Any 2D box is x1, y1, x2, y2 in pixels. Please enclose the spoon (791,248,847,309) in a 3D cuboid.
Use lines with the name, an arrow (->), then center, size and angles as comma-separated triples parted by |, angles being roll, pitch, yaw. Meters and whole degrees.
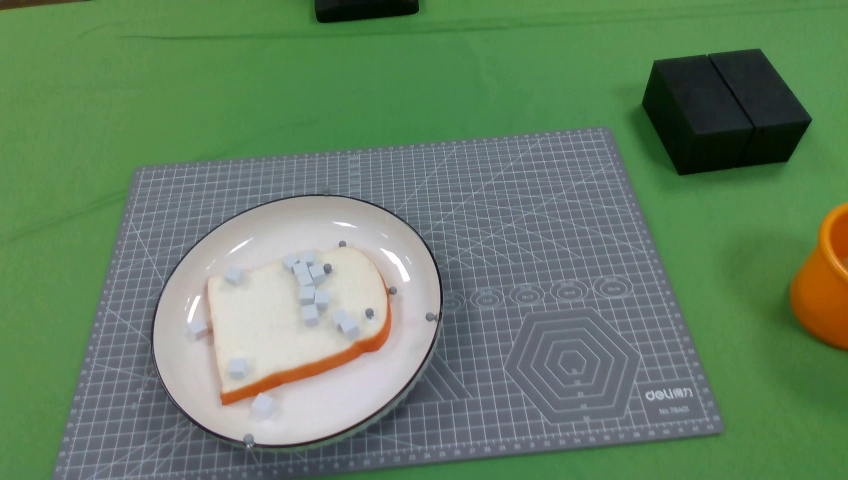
spoon -> 0.343, -0.003, 0.399 | 0.193, 0.022, 0.041 | -30, 43, 32

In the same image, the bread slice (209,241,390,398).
bread slice -> -0.093, 0.048, 0.453 | 0.132, 0.019, 0.103 | -18, 56, -9

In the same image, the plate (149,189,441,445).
plate -> -0.091, 0.051, 0.448 | 0.209, 0.038, 0.207 | -1, 54, 1
